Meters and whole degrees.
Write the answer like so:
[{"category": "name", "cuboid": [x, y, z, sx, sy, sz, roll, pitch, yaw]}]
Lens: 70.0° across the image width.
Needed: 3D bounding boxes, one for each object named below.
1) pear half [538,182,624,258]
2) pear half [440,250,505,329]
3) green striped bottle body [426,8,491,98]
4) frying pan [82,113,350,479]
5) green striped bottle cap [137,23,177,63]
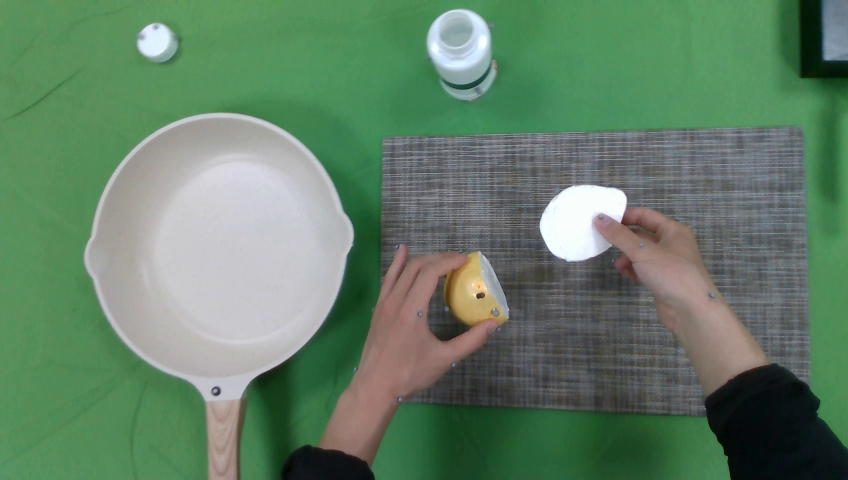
[{"category": "pear half", "cuboid": [0.151, -0.022, 0.588, 0.088, 0.031, 0.070, -32, 96, -6]}, {"category": "pear half", "cuboid": [0.042, 0.052, 0.577, 0.056, 0.110, 0.076, -30, 83, 6]}, {"category": "green striped bottle body", "cuboid": [0.037, -0.196, 0.633, 0.063, 0.119, 0.063, -1, 85, 8]}, {"category": "frying pan", "cuboid": [-0.219, 0.110, 0.659, 0.306, 0.103, 0.485, -5, 77, 9]}, {"category": "green striped bottle cap", "cuboid": [-0.325, -0.240, 0.739, 0.044, 0.020, 0.044, -1, 86, 9]}]
